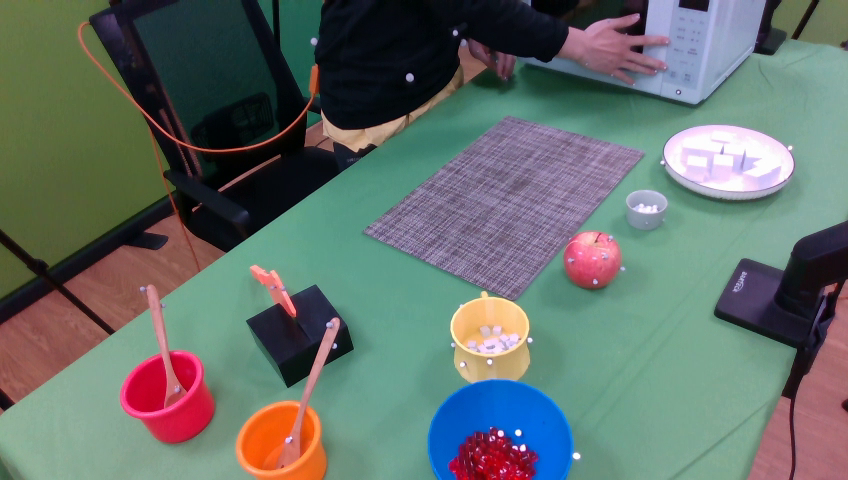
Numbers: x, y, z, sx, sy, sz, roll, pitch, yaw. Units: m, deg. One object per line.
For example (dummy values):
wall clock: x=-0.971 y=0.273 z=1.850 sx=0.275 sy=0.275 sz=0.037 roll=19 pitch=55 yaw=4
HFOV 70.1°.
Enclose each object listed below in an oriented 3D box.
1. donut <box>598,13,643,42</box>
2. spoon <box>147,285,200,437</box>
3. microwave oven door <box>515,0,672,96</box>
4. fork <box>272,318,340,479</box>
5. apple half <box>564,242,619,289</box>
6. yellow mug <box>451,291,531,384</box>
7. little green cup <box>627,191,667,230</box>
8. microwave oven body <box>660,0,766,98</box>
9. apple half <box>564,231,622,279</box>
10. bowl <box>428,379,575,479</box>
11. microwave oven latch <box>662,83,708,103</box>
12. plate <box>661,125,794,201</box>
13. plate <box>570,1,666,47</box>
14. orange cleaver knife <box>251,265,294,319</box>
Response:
donut: x=0.438 y=-0.473 z=1.346 sx=0.099 sy=0.048 sz=0.098 roll=-18 pitch=21 yaw=8
spoon: x=-0.318 y=0.148 z=0.754 sx=0.042 sy=0.021 sz=0.193 roll=-15 pitch=85 yaw=-11
microwave oven door: x=0.344 y=-0.455 z=1.260 sx=0.353 sy=0.245 sz=0.039 roll=26 pitch=51 yaw=33
fork: x=-0.131 y=0.186 z=0.676 sx=0.028 sy=0.019 sz=0.207 roll=17 pitch=90 yaw=28
apple half: x=0.229 y=0.044 z=0.848 sx=0.081 sy=0.081 sz=0.033 roll=16 pitch=41 yaw=26
yellow mug: x=0.085 y=0.120 z=0.786 sx=0.100 sy=0.064 sz=0.130 roll=-7 pitch=39 yaw=1
little green cup: x=0.352 y=-0.046 z=0.963 sx=0.061 sy=0.039 sz=0.061 roll=-4 pitch=40 yaw=4
microwave oven body: x=0.473 y=-0.513 z=1.317 sx=0.438 sy=0.261 sz=0.327 roll=26 pitch=51 yaw=34
apple half: x=0.249 y=0.021 z=0.874 sx=0.080 sy=0.075 sz=0.053 roll=14 pitch=40 yaw=28
bowl: x=0.083 y=0.233 z=0.645 sx=0.151 sy=0.077 sz=0.150 roll=-4 pitch=39 yaw=4
microwave oven latch: x=0.518 y=-0.296 z=1.204 sx=0.078 sy=0.029 sz=0.030 roll=27 pitch=52 yaw=35
plate: x=0.514 y=-0.128 z=1.035 sx=0.207 sy=0.039 sz=0.206 roll=-4 pitch=40 yaw=4
plate: x=0.437 y=-0.485 z=1.369 sx=0.209 sy=0.038 sz=0.208 roll=-4 pitch=41 yaw=4
orange cleaver knife: x=-0.221 y=0.073 z=0.876 sx=0.012 sy=0.077 sz=0.210 roll=-23 pitch=12 yaw=-22
